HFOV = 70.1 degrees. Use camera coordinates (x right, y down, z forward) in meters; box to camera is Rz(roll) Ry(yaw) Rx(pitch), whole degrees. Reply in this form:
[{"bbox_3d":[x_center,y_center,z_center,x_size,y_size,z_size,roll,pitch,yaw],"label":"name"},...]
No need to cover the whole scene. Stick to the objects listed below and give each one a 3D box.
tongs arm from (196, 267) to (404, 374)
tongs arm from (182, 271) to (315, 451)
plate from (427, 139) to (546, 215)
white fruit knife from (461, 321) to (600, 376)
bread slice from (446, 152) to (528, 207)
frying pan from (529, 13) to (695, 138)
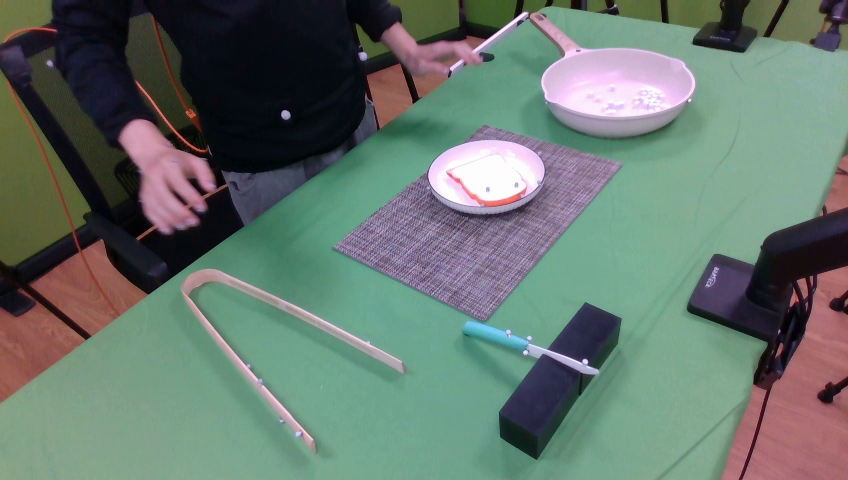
[{"bbox_3d":[-0.187,0.108,0.864,0.385,0.028,0.028,20,50,28],"label":"tongs arm"},{"bbox_3d":[-0.241,0.147,0.820,0.051,0.026,0.381,-34,46,-29],"label":"tongs arm"},{"bbox_3d":[0.109,-0.107,1.058,0.207,0.039,0.206,-4,40,4],"label":"plate"},{"bbox_3d":[0.125,0.133,0.752,0.205,0.027,0.016,12,43,42],"label":"white fruit knife"},{"bbox_3d":[0.117,-0.104,1.057,0.107,0.018,0.133,-24,42,-17],"label":"bread slice"},{"bbox_3d":[0.348,-0.368,1.282,0.308,0.103,0.484,-16,50,-12],"label":"frying pan"}]
